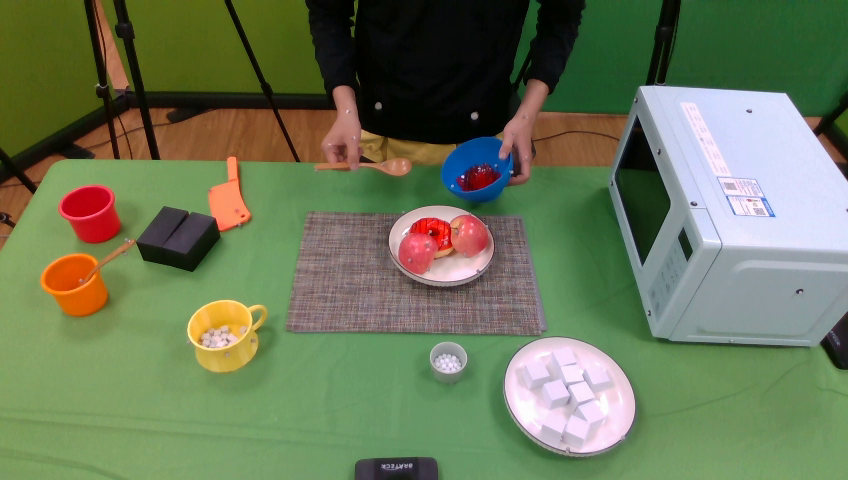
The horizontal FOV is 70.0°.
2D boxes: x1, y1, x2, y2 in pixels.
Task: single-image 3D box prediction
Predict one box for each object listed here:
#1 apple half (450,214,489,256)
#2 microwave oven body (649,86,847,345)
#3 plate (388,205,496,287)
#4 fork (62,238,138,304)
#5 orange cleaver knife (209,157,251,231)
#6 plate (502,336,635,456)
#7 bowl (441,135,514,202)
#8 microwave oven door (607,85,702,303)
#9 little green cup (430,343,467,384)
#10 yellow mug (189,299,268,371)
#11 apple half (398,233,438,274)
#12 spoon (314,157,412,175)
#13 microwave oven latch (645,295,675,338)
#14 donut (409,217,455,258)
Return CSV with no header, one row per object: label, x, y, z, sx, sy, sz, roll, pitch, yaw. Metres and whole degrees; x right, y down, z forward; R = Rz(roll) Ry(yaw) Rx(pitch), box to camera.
apple half,0.092,-0.013,1.158,0.075,0.053,0.080,35,39,-28
microwave oven body,0.568,-0.053,1.118,0.326,0.261,0.439,2,45,-1
plate,0.033,0.014,1.171,0.209,0.038,0.208,2,46,-2
fork,-0.547,0.053,1.018,0.207,0.019,0.028,-36,41,23
orange cleaver knife,-0.409,-0.099,1.266,0.077,0.012,0.210,-14,50,-9
plate,0.225,0.248,0.964,0.208,0.039,0.206,2,46,-2
bowl,0.118,-0.131,1.230,0.151,0.077,0.150,-14,49,17
microwave oven door,0.423,-0.094,1.140,0.039,0.245,0.353,2,46,-1
little green cup,0.039,0.203,0.993,0.061,0.039,0.061,2,46,-2
yellow mug,-0.316,0.148,1.002,0.131,0.064,0.099,-33,56,-31
apple half,-0.016,0.022,1.123,0.081,0.033,0.081,-2,83,14
spoon,-0.116,-0.145,1.170,0.194,0.022,0.041,-1,65,-24
microwave oven latch,0.412,0.134,1.061,0.030,0.029,0.078,3,45,0
donut,0.019,-0.006,1.174,0.099,0.048,0.098,2,44,-2
